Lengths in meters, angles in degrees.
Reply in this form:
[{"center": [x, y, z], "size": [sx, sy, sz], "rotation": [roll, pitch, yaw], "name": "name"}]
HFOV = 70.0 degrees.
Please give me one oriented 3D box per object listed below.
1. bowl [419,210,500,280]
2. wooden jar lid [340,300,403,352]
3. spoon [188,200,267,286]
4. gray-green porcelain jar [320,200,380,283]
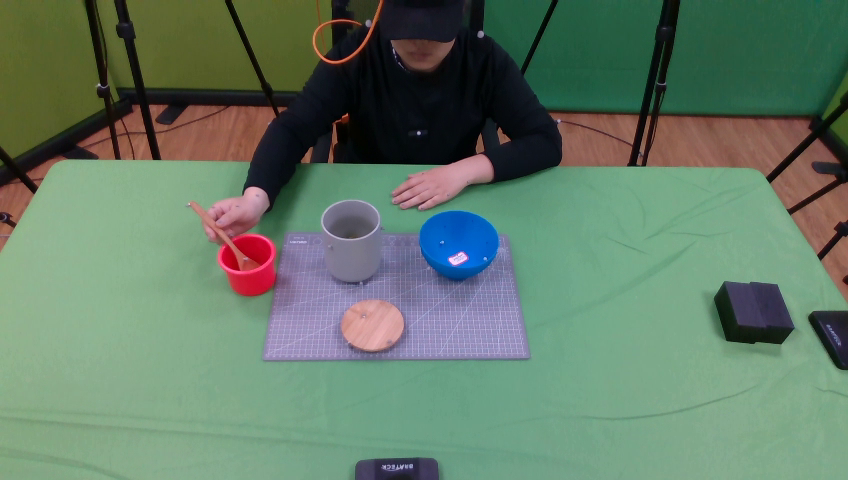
[{"center": [0.062, 0.022, 1.140], "size": [0.151, 0.077, 0.150], "rotation": [2, 46, -2], "name": "bowl"}, {"center": [-0.090, 0.150, 1.046], "size": [0.108, 0.021, 0.107], "rotation": [3, 47, -3], "name": "wooden jar lid"}, {"center": [-0.348, 0.005, 1.077], "size": [0.021, 0.194, 0.041], "rotation": [-14, 27, 48], "name": "spoon"}, {"center": [-0.132, 0.007, 1.106], "size": [0.106, 0.127, 0.105], "rotation": [2, 46, -2], "name": "gray-green porcelain jar"}]
